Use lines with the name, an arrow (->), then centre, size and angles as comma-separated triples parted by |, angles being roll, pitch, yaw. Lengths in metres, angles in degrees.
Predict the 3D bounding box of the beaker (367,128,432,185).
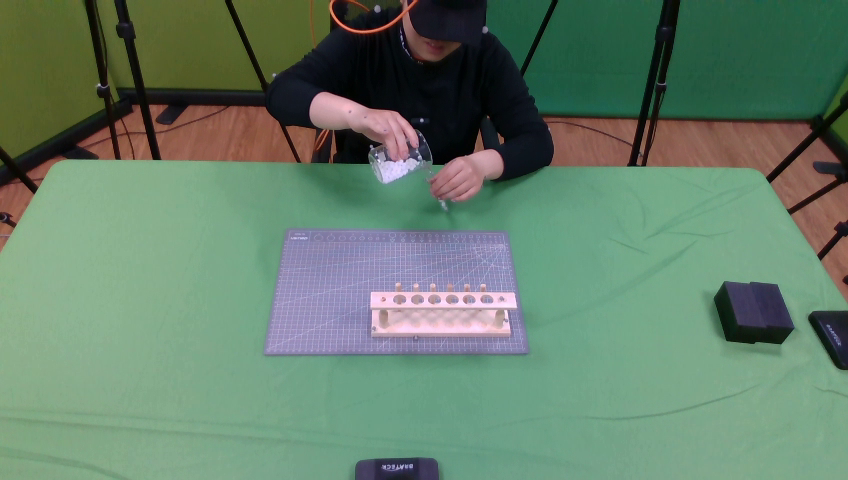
beaker -> -0.046, -0.148, 1.110 | 0.100, 0.084, 0.073 | -26, 50, -13

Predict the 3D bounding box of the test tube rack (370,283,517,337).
test tube rack -> 0.030, 0.116, 1.041 | 0.242, 0.085, 0.066 | 1, 46, -4

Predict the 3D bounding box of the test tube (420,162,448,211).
test tube -> 0.022, -0.103, 1.208 | 0.017, 0.151, 0.017 | -10, 55, 15
